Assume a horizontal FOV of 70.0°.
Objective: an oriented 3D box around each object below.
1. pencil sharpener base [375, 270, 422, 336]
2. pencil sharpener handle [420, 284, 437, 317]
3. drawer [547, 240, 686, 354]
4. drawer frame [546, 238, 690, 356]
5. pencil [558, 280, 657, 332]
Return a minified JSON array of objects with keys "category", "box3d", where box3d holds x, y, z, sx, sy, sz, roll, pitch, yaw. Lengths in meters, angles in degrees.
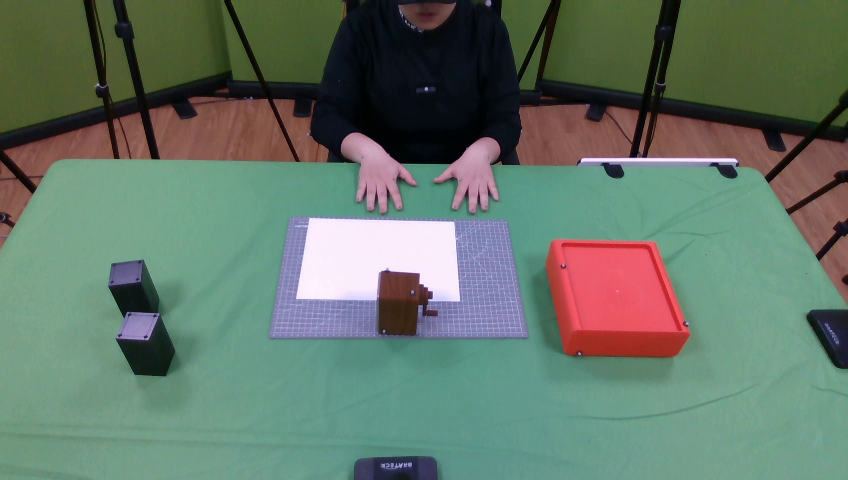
[{"category":"pencil sharpener base","box3d":[-0.043,0.108,1.025,0.077,0.107,0.061,3,45,-2]},{"category":"pencil sharpener handle","box3d":[0.009,0.103,1.017,0.030,0.068,0.036,3,39,-2]},{"category":"drawer","box3d":[0.336,0.098,1.087,0.194,0.073,0.210,2,47,-3]},{"category":"drawer frame","box3d":[0.337,0.098,1.084,0.202,0.083,0.212,1,46,-4]},{"category":"pencil","box3d":[0.334,0.121,1.105,0.193,0.012,0.012,27,49,14]}]
